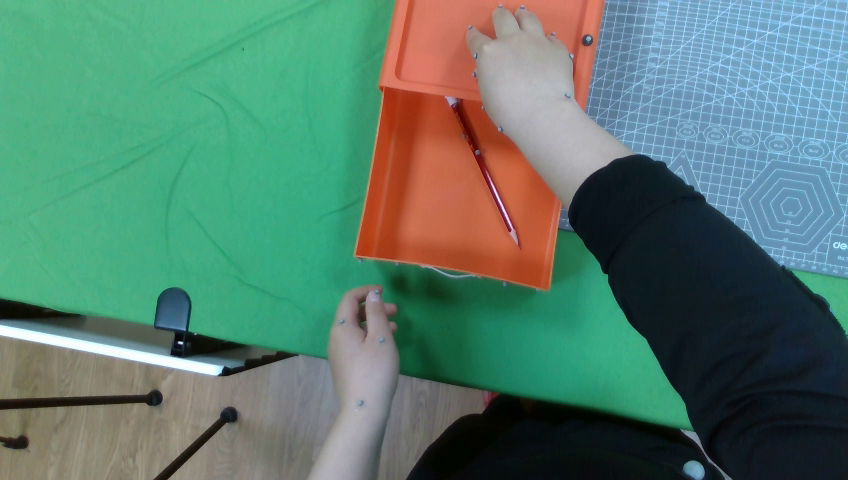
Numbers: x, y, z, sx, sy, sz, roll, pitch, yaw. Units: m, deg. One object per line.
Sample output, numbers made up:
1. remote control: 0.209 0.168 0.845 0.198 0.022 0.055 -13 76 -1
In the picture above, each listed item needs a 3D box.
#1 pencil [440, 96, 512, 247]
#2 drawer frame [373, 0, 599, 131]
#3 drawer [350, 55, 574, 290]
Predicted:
1. pencil: 0.053 -0.082 0.634 0.012 0.012 0.193 -24 86 7
2. drawer frame: 0.070 -0.229 0.609 0.201 0.083 0.213 10 88 9
3. drawer: 0.042 -0.067 0.609 0.194 0.073 0.211 9 91 10
